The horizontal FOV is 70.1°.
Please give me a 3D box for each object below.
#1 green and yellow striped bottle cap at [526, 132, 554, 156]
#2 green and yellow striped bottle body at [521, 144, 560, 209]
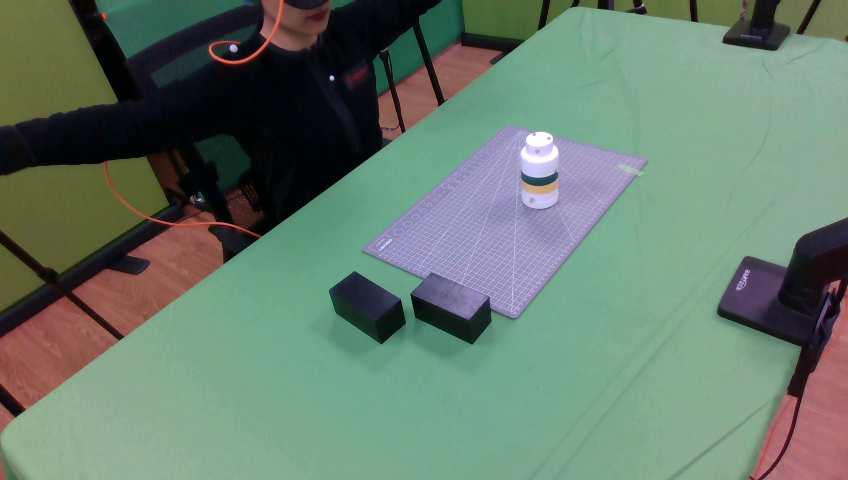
[{"bbox_3d":[0.186,-0.154,0.968,0.045,0.020,0.045,-5,38,5],"label":"green and yellow striped bottle cap"},{"bbox_3d":[0.193,-0.116,1.002,0.063,0.120,0.063,-5,40,5],"label":"green and yellow striped bottle body"}]
